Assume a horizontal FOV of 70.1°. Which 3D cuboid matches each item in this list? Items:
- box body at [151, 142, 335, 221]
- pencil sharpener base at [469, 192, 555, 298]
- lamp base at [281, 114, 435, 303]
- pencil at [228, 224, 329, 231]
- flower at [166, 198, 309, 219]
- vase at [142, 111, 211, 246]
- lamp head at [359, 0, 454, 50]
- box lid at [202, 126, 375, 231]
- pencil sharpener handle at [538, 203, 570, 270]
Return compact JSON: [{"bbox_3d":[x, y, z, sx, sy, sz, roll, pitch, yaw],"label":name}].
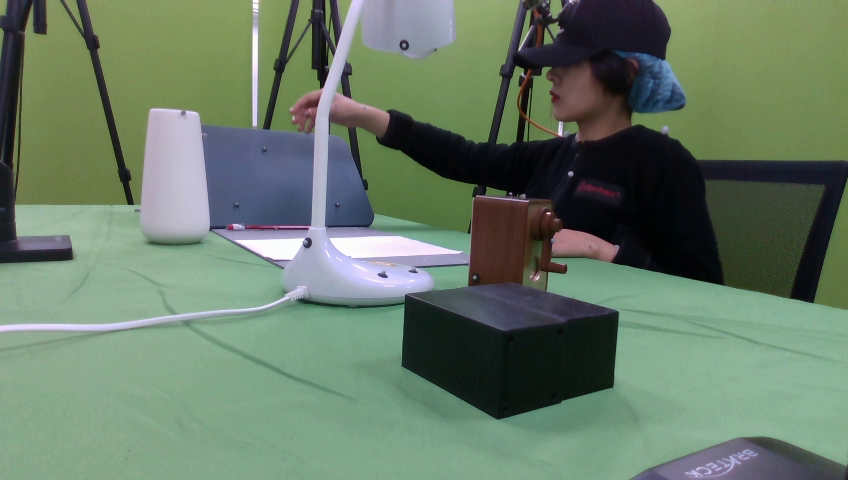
[{"bbox_3d":[-0.412,-0.135,1.379,0.366,0.160,0.253,-2,9,-31],"label":"box body"},{"bbox_3d":[0.097,0.003,0.652,0.076,0.107,0.061,8,9,38],"label":"pencil sharpener base"},{"bbox_3d":[-0.071,-0.035,0.614,0.160,0.180,0.180,6,10,27],"label":"lamp base"},{"bbox_3d":[-0.266,-0.023,1.125,0.195,0.012,0.012,-1,8,-33],"label":"pencil"},{"bbox_3d":[-0.399,-0.062,1.357,0.044,0.038,0.364,-36,-22,32],"label":"flower"},{"bbox_3d":[-0.378,-0.093,0.920,0.098,0.200,0.098,2,9,0],"label":"vase"},{"bbox_3d":[-0.024,-0.282,0.674,0.112,0.123,0.112,-3,38,3],"label":"lamp head"},{"bbox_3d":[-0.294,-0.128,1.235,0.373,0.262,0.015,-2,-35,-32],"label":"box lid"},{"bbox_3d":[0.137,-0.003,0.619,0.030,0.067,0.036,8,5,38],"label":"pencil sharpener handle"}]
